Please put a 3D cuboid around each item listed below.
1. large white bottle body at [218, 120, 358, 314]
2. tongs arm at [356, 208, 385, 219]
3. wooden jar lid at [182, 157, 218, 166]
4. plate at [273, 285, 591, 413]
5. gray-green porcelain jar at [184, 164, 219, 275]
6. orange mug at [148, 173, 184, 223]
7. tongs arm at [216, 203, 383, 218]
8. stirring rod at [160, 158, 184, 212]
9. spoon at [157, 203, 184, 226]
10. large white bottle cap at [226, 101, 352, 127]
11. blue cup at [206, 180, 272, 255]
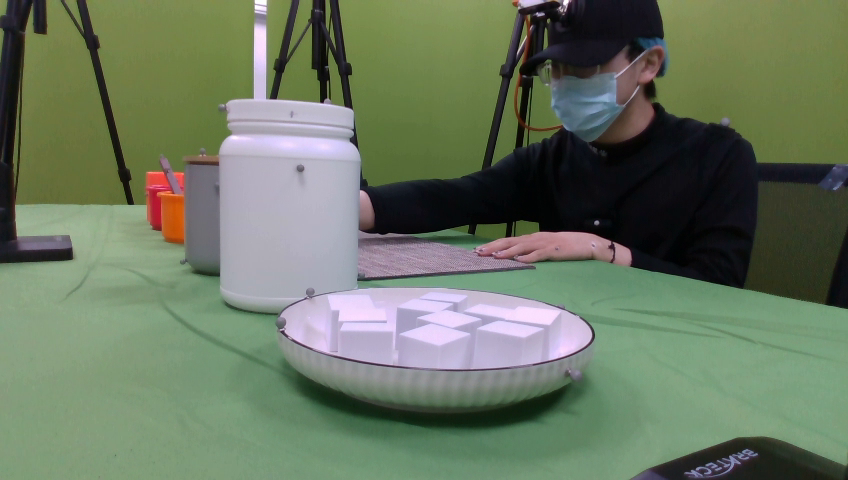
[{"bbox_3d":[-0.129,-0.032,0.578,0.131,0.184,0.130,2,7,0],"label":"large white bottle body"},{"bbox_3d":[-0.252,-0.062,1.361,0.387,0.026,0.050,-1,3,-31],"label":"tongs arm"},{"bbox_3d":[-0.227,-0.086,0.714,0.108,0.020,0.108,0,6,0],"label":"wooden jar lid"},{"bbox_3d":[0.005,0.069,0.408,0.208,0.039,0.207,2,7,0],"label":"plate"},{"bbox_3d":[-0.230,-0.025,0.722,0.106,0.126,0.106,3,7,0],"label":"gray-green porcelain jar"},{"bbox_3d":[-0.490,-0.087,1.222,0.127,0.101,0.083,-9,13,-38],"label":"orange mug"},{"bbox_3d":[-0.289,-0.069,1.435,0.389,0.027,0.028,1,-1,-18],"label":"tongs arm"},{"bbox_3d":[-0.390,-0.070,0.972,0.014,0.006,0.175,-2,50,-48],"label":"stirring rod"},{"bbox_3d":[-0.425,-0.094,1.117,0.041,0.022,0.194,5,51,29],"label":"spoon"},{"bbox_3d":[-0.125,-0.116,0.566,0.115,0.018,0.115,2,7,0],"label":"large white bottle cap"},{"bbox_3d":[-0.262,-0.033,0.865,0.093,0.100,0.092,3,10,0],"label":"blue cup"}]
